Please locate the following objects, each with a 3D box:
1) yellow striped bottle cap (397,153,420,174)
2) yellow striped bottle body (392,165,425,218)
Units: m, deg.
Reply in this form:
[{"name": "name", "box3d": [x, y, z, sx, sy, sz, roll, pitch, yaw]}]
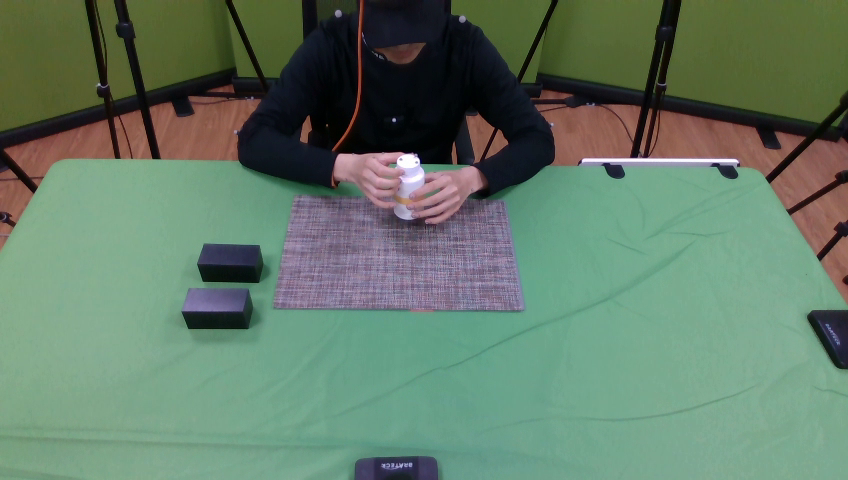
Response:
[{"name": "yellow striped bottle cap", "box3d": [-0.030, -0.145, 1.140, 0.044, 0.019, 0.044, 2, 42, -1]}, {"name": "yellow striped bottle body", "box3d": [-0.030, -0.106, 1.178, 0.063, 0.121, 0.062, 0, 43, 0]}]
